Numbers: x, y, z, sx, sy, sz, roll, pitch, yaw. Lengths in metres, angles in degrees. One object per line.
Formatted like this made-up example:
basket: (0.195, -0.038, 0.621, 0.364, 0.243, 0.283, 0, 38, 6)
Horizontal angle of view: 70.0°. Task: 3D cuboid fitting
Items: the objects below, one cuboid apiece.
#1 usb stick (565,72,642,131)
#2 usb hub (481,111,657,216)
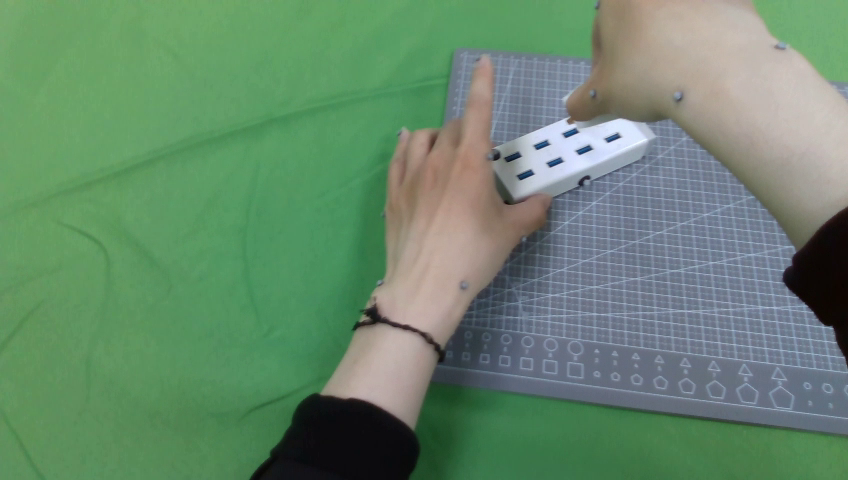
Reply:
usb stick: (0.115, -0.091, 0.408, 0.021, 0.059, 0.027, -41, 103, -18)
usb hub: (0.109, -0.065, 0.458, 0.125, 0.025, 0.049, -23, 63, -13)
